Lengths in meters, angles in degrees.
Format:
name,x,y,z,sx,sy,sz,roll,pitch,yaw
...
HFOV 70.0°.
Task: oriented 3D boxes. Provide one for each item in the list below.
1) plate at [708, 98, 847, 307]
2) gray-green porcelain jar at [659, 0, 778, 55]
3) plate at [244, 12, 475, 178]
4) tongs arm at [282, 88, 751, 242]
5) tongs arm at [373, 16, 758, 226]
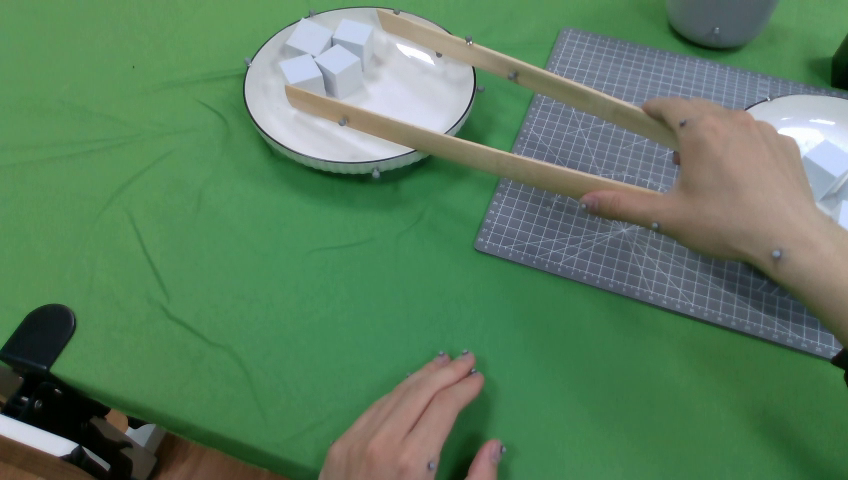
name,x,y,z,sx,sy,sz,roll,pitch,yaw
plate,0.334,-0.030,0.491,0.209,0.038,0.207,0,55,0
gray-green porcelain jar,0.299,-0.258,0.598,0.106,0.127,0.105,0,55,0
plate,-0.057,-0.133,0.561,0.208,0.039,0.205,0,55,0
tongs arm,0.040,-0.067,0.467,0.385,0.028,0.028,21,53,25
tongs arm,0.082,-0.114,0.496,0.381,0.027,0.050,30,61,29
